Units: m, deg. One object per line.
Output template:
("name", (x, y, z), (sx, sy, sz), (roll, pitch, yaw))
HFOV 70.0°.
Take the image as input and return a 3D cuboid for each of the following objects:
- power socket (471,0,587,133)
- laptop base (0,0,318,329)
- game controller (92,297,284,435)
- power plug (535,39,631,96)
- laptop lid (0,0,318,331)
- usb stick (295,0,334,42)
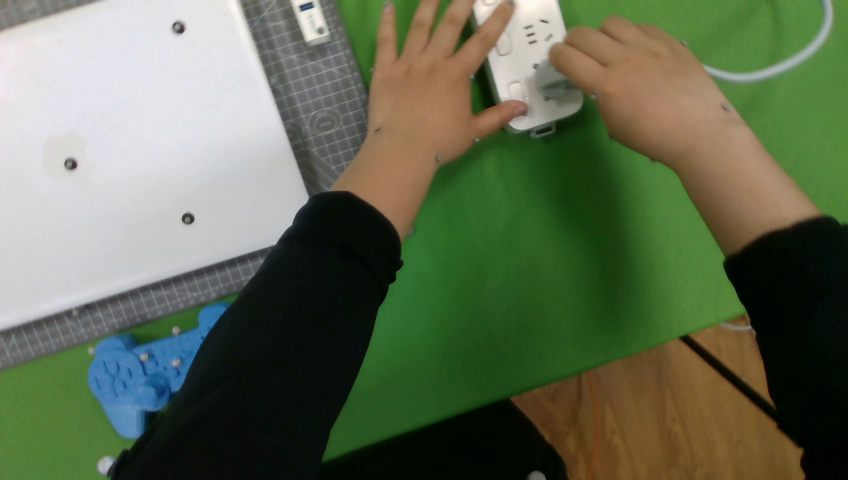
("power socket", (0.079, -0.205, 0.520), (0.072, 0.032, 0.227), (-17, 98, 1))
("laptop base", (-0.294, -0.070, 0.522), (0.354, 0.023, 0.236), (-18, 101, -1))
("game controller", (-0.212, 0.112, 0.537), (0.155, 0.051, 0.097), (-18, 93, -1))
("power plug", (0.129, -0.139, 0.499), (0.072, 0.052, 0.035), (-5, 96, 3))
("laptop lid", (-0.292, -0.066, 0.510), (0.357, 0.013, 0.242), (-16, 100, -1))
("usb stick", (-0.096, -0.200, 0.510), (0.021, 0.027, 0.059), (-18, 96, 2))
